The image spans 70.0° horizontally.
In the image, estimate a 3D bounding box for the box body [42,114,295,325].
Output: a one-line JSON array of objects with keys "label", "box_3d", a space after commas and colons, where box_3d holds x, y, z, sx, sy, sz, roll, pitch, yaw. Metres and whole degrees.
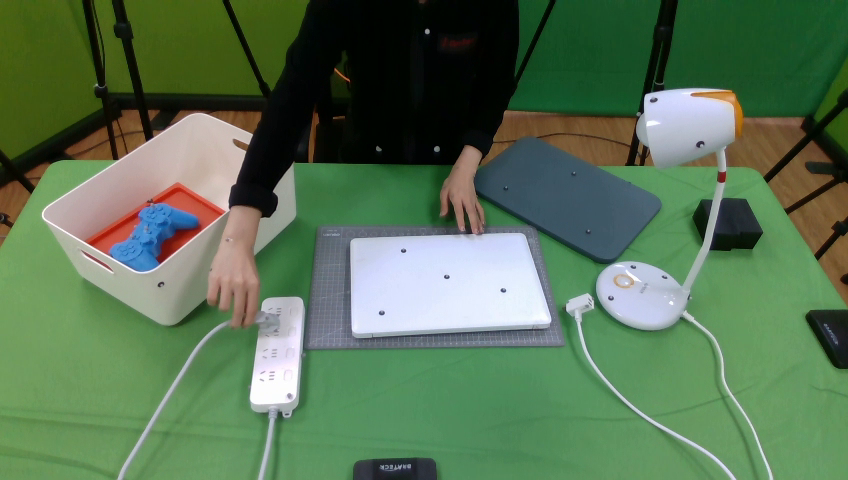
[{"label": "box body", "box_3d": [-0.437, -0.046, 1.110, 0.253, 0.161, 0.363, 24, 49, 19]}]

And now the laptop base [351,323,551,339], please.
[{"label": "laptop base", "box_3d": [0.040, 0.080, 1.125, 0.355, 0.023, 0.234, -2, 43, -6]}]

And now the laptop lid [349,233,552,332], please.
[{"label": "laptop lid", "box_3d": [0.040, 0.070, 1.119, 0.357, 0.013, 0.240, -1, 44, -5]}]

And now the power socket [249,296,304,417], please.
[{"label": "power socket", "box_3d": [-0.239, 0.182, 0.996, 0.072, 0.033, 0.225, -2, 47, -5]}]

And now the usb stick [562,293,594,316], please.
[{"label": "usb stick", "box_3d": [0.275, 0.118, 1.088, 0.021, 0.059, 0.027, 39, 44, -28]}]

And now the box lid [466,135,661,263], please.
[{"label": "box lid", "box_3d": [0.306, -0.102, 1.327, 0.370, 0.015, 0.263, 32, 52, 25]}]

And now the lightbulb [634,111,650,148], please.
[{"label": "lightbulb", "box_3d": [0.348, -0.163, 0.852, 0.059, 0.060, 0.107, -36, 19, -32]}]

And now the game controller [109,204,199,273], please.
[{"label": "game controller", "box_3d": [-0.467, -0.005, 1.043, 0.097, 0.052, 0.154, 7, 45, 11]}]

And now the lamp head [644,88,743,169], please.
[{"label": "lamp head", "box_3d": [0.380, -0.161, 0.851, 0.122, 0.113, 0.112, -4, 42, 25]}]

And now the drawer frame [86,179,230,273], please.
[{"label": "drawer frame", "box_3d": [-0.453, 0.010, 1.100, 0.201, 0.083, 0.213, 28, 55, 22]}]

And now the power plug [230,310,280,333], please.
[{"label": "power plug", "box_3d": [-0.270, 0.130, 0.982, 0.072, 0.053, 0.035, 12, 55, 5]}]

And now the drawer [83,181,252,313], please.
[{"label": "drawer", "box_3d": [-0.458, 0.007, 1.100, 0.194, 0.073, 0.211, 30, 50, 20]}]

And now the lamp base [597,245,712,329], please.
[{"label": "lamp base", "box_3d": [0.418, 0.051, 1.071, 0.179, 0.181, 0.160, 22, 49, 13]}]
